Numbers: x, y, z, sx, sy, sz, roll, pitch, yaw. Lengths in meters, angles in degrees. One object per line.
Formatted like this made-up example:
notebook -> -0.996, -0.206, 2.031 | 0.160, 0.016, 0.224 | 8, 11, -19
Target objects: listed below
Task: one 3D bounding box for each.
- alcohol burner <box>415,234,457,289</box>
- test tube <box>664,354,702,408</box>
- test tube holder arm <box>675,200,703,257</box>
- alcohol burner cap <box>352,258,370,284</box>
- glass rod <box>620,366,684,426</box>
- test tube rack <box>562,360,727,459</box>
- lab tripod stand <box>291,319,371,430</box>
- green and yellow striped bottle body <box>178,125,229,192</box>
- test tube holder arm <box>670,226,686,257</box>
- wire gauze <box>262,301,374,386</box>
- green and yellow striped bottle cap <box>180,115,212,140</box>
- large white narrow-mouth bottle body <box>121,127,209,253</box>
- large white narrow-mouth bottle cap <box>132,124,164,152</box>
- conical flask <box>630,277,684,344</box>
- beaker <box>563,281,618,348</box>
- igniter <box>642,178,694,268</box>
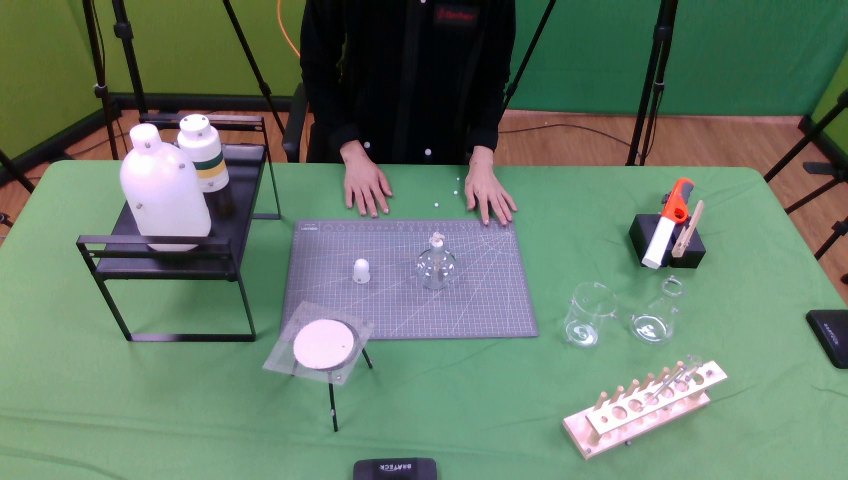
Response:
alcohol burner -> 0.022, 0.033, 1.100 | 0.078, 0.120, 0.077 | 1, 47, -1
test tube -> 0.385, 0.215, 0.906 | 0.017, 0.151, 0.017 | -1, 49, 1
test tube holder arm -> 0.522, -0.025, 1.190 | 0.013, 0.015, 0.178 | -1, 35, 42
alcohol burner cap -> -0.117, 0.055, 1.118 | 0.034, 0.048, 0.033 | 1, 46, -1
glass rod -> 0.322, 0.227, 0.866 | 0.008, 0.200, 0.008 | 5, 51, -7
test tube rack -> 0.341, 0.247, 0.940 | 0.243, 0.085, 0.066 | -16, 49, -19
lab tripod stand -> -0.146, 0.193, 0.923 | 0.148, 0.132, 0.147 | 1, 47, -1
green and yellow striped bottle body -> -0.361, -0.142, 0.989 | 0.063, 0.120, 0.063 | 2, 46, -2
test tube holder arm -> 0.494, 0.001, 1.167 | 0.010, 0.015, 0.087 | 0, 36, 43
wire gauze -> -0.150, 0.148, 0.873 | 0.121, 0.011, 0.124 | 14, 46, 12
green and yellow striped bottle cap -> -0.358, -0.177, 0.951 | 0.045, 0.020, 0.045 | 2, 44, -2
large white narrow-mouth bottle body -> -0.378, -0.077, 0.875 | 0.102, 0.195, 0.101 | 3, 46, -3
large white narrow-mouth bottle cap -> -0.371, -0.137, 0.813 | 0.038, 0.024, 0.037 | 3, 46, -3
conical flask -> 0.408, 0.117, 1.045 | 0.075, 0.122, 0.075 | 2, 46, -2
beaker -> 0.283, 0.129, 1.041 | 0.074, 0.101, 0.083 | 11, 45, 6
igniter -> 0.488, -0.042, 1.205 | 0.057, 0.025, 0.276 | 30, 52, 11
